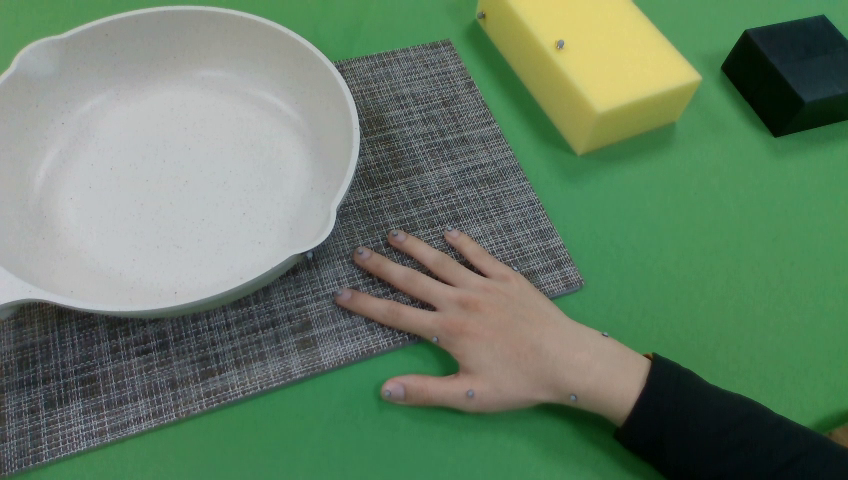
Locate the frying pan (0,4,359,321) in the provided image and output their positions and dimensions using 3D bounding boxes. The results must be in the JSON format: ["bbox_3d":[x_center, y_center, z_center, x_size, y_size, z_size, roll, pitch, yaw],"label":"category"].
[{"bbox_3d":[-0.255,-0.004,0.422,0.305,0.103,0.486,32,54,14],"label":"frying pan"}]

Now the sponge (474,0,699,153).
[{"bbox_3d":[0.152,-0.194,0.600,0.118,0.061,0.205,-21,64,-17],"label":"sponge"}]
